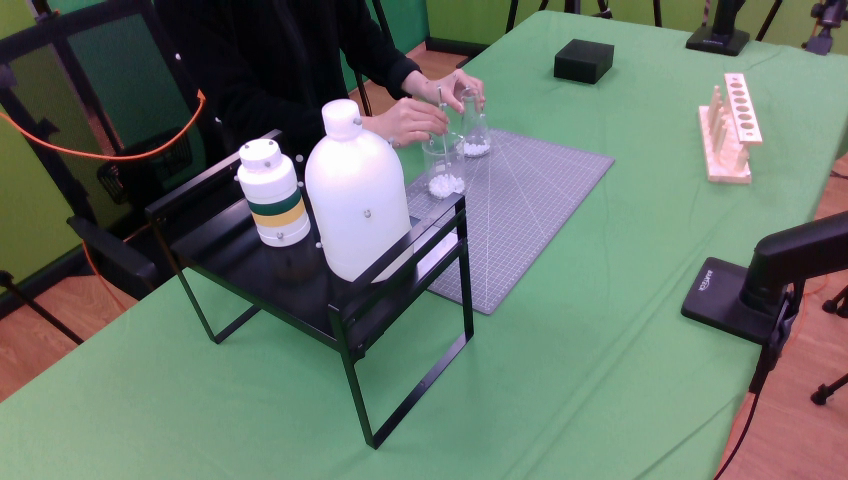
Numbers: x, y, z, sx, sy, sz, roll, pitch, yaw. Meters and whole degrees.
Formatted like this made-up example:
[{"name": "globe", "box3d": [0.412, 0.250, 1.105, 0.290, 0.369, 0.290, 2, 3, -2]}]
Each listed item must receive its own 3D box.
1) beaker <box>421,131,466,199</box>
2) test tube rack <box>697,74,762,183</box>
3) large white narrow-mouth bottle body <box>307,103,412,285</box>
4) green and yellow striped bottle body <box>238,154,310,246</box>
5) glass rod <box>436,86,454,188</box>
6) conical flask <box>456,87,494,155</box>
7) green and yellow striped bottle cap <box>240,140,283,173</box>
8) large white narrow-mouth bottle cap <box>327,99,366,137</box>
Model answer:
[{"name": "beaker", "box3d": [0.040, -0.130, 1.060, 0.084, 0.100, 0.073, -24, 44, -20]}, {"name": "test tube rack", "box3d": [0.547, -0.208, 1.095, 0.066, 0.085, 0.242, 5, 42, 15]}, {"name": "large white narrow-mouth bottle body", "box3d": [-0.070, -0.051, 0.638, 0.102, 0.195, 0.101, -3, 40, 3]}, {"name": "green and yellow striped bottle body", "box3d": [-0.178, -0.056, 0.714, 0.063, 0.120, 0.063, -4, 40, 4]}, {"name": "glass rod", "box3d": [0.037, -0.166, 1.008, 0.008, 0.201, 0.008, -6, 42, 6]}, {"name": "conical flask", "box3d": [0.093, -0.226, 1.142, 0.075, 0.122, 0.075, -5, 44, 5]}, {"name": "green and yellow striped bottle cap", "box3d": [-0.183, -0.094, 0.679, 0.045, 0.020, 0.045, -4, 38, 4]}, {"name": "large white narrow-mouth bottle cap", "box3d": [-0.075, -0.117, 0.582, 0.038, 0.024, 0.037, -3, 40, 3]}]
